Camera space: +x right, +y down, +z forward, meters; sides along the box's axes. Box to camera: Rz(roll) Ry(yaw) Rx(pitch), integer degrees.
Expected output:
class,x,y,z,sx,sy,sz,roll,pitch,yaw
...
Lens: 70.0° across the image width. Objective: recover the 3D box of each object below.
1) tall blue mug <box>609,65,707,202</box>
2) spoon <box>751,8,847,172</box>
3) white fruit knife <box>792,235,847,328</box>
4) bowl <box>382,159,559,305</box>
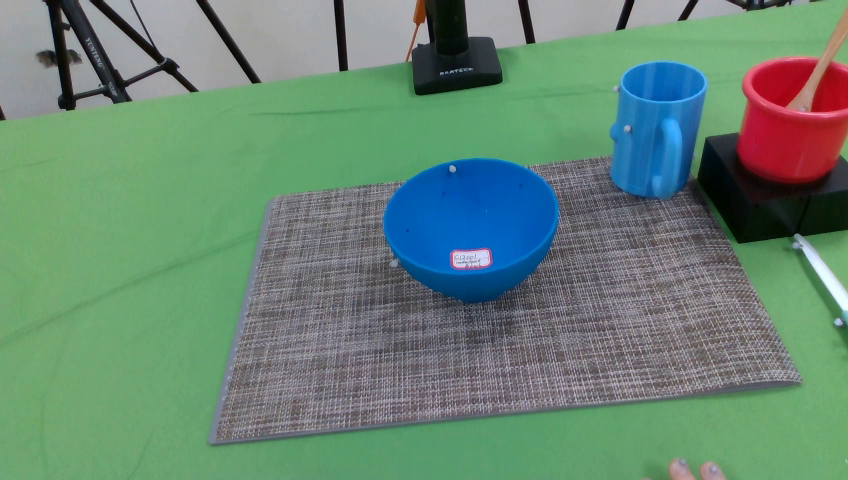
class,x,y,z,sx,sy,sz,roll,pitch,yaw
tall blue mug,0.232,-0.095,0.584,0.078,0.109,0.106,-21,44,-12
spoon,0.344,-0.146,0.523,0.041,0.022,0.194,33,102,38
white fruit knife,0.338,0.065,0.472,0.027,0.016,0.205,14,39,-14
bowl,0.043,0.005,0.538,0.151,0.077,0.150,-5,44,6
